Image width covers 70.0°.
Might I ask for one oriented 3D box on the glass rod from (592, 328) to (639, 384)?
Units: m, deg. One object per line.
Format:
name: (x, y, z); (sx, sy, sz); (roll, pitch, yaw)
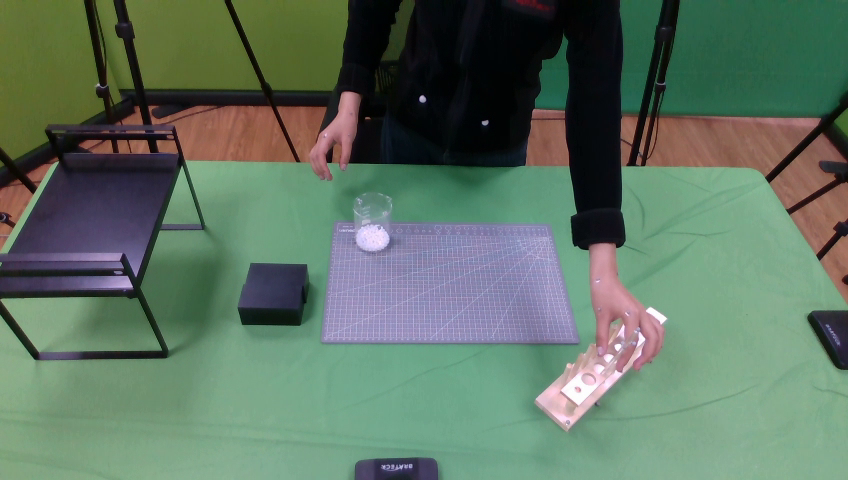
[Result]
glass rod: (0.279, 0.183, 0.902); (0.008, 0.200, 0.008); (4, 52, -5)

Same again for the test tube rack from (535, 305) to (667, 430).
test tube rack: (0.290, 0.193, 0.984); (0.242, 0.085, 0.066); (-32, 56, -30)

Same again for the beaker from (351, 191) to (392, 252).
beaker: (-0.097, -0.033, 1.161); (0.084, 0.101, 0.073); (-29, 55, -28)
